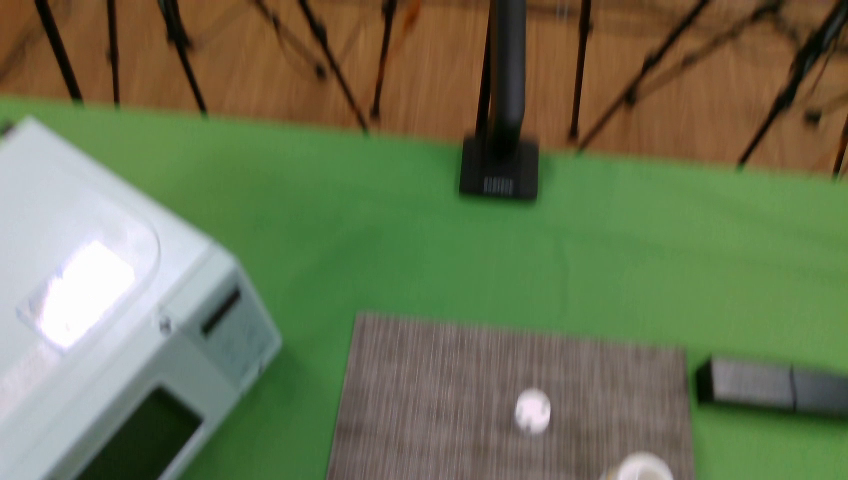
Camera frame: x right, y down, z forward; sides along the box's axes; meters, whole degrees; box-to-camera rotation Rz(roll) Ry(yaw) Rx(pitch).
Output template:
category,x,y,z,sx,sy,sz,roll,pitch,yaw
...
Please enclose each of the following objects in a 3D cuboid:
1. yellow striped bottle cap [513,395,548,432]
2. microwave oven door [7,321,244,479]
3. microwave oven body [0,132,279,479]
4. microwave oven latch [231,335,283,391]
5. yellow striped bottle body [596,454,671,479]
category,x,y,z,sx,sy,sz,roll,pitch,yaw
yellow striped bottle cap,0.137,0.222,0.775,0.044,0.019,0.044,0,62,1
microwave oven door,-0.337,0.261,0.597,0.039,0.245,0.354,30,65,15
microwave oven body,-0.436,0.162,0.654,0.324,0.262,0.440,31,66,14
microwave oven latch,-0.215,0.152,0.776,0.030,0.030,0.079,33,66,15
yellow striped bottle body,0.237,0.280,0.685,0.063,0.121,0.062,1,61,-1
